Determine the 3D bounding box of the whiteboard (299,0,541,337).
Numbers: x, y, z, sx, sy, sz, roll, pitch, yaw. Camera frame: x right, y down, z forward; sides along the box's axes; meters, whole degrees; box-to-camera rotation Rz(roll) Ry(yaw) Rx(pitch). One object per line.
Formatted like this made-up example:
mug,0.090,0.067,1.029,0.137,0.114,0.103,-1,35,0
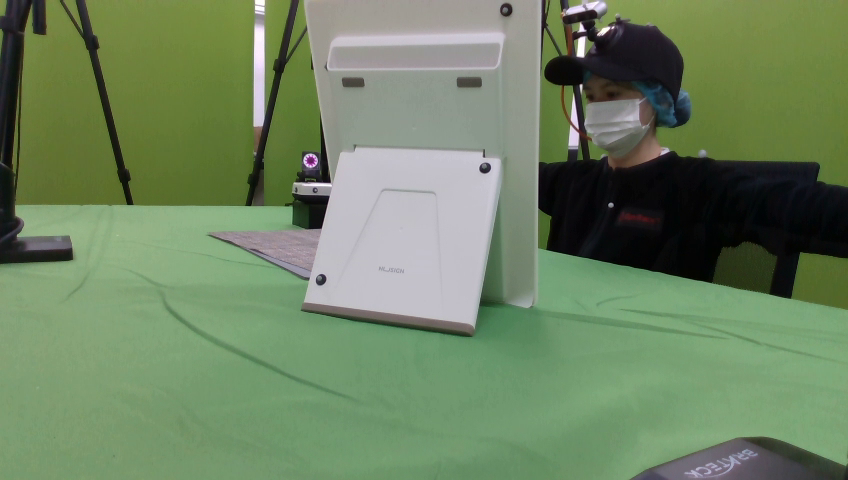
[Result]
whiteboard,-0.021,-0.050,0.523,0.216,0.305,0.144,6,27,20

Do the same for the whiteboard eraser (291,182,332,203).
whiteboard eraser,-0.209,-0.097,1.234,0.113,0.042,0.055,-3,7,-35
